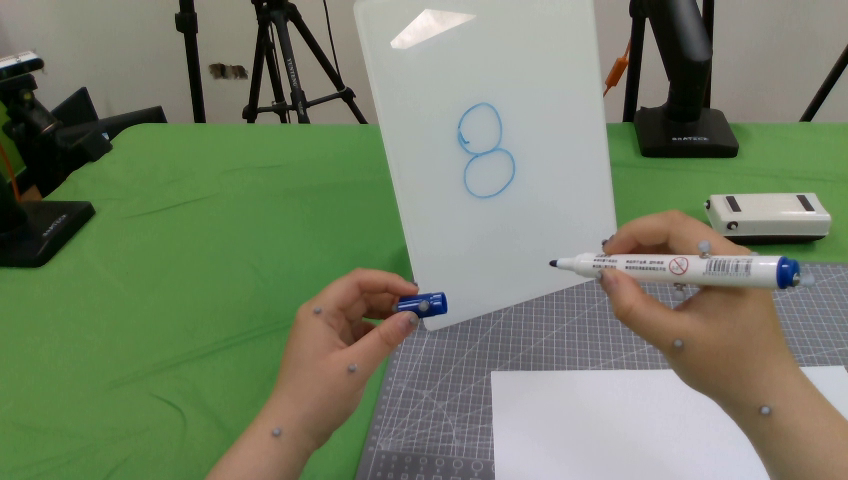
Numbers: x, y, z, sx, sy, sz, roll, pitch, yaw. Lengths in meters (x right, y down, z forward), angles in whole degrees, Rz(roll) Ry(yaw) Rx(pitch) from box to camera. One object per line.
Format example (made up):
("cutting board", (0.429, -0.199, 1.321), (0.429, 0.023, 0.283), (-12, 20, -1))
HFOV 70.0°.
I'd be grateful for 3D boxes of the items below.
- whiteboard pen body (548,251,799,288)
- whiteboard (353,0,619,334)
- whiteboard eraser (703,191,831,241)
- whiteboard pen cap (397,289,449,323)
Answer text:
("whiteboard pen body", (0.124, 0.014, 0.328), (0.017, 0.017, 0.140), (-37, 23, -34))
("whiteboard", (0.056, -0.097, 0.617), (0.217, 0.307, 0.142), (-16, 19, -12))
("whiteboard eraser", (0.365, -0.025, 0.650), (0.112, 0.042, 0.055), (1, 40, 7))
("whiteboard pen cap", (0.000, 0.044, 0.411), (0.033, 0.018, 0.018), (-19, 35, 15))
